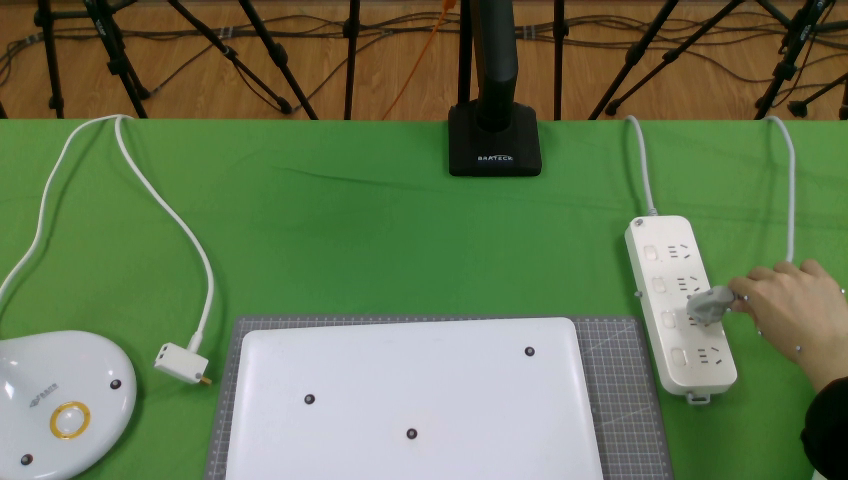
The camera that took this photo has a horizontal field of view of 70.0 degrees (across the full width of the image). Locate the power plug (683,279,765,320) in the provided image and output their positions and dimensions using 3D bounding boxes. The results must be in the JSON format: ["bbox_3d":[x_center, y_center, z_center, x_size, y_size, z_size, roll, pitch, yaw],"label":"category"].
[{"bbox_3d":[0.306,0.066,0.624,0.072,0.053,0.035,10,53,10],"label":"power plug"}]

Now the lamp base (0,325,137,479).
[{"bbox_3d":[-0.386,0.113,0.550,0.178,0.182,0.160,23,60,17],"label":"lamp base"}]

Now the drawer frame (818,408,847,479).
[{"bbox_3d":[0.480,0.217,0.533,0.200,0.083,0.213,34,60,18],"label":"drawer frame"}]

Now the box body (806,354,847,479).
[{"bbox_3d":[0.463,0.238,0.481,0.253,0.162,0.363,29,62,17],"label":"box body"}]

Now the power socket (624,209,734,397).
[{"bbox_3d":[0.277,0.059,0.670,0.072,0.033,0.224,-1,57,-1],"label":"power socket"}]

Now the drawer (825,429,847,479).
[{"bbox_3d":[0.485,0.217,0.532,0.193,0.074,0.211,33,65,20],"label":"drawer"}]

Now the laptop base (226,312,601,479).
[{"bbox_3d":[-0.011,0.187,0.598,0.354,0.023,0.233,-2,61,-2],"label":"laptop base"}]

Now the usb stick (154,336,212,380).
[{"bbox_3d":[-0.243,0.124,0.622,0.021,0.060,0.027,-21,40,40],"label":"usb stick"}]

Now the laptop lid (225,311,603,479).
[{"bbox_3d":[-0.012,0.183,0.587,0.357,0.013,0.239,-1,60,0],"label":"laptop lid"}]
